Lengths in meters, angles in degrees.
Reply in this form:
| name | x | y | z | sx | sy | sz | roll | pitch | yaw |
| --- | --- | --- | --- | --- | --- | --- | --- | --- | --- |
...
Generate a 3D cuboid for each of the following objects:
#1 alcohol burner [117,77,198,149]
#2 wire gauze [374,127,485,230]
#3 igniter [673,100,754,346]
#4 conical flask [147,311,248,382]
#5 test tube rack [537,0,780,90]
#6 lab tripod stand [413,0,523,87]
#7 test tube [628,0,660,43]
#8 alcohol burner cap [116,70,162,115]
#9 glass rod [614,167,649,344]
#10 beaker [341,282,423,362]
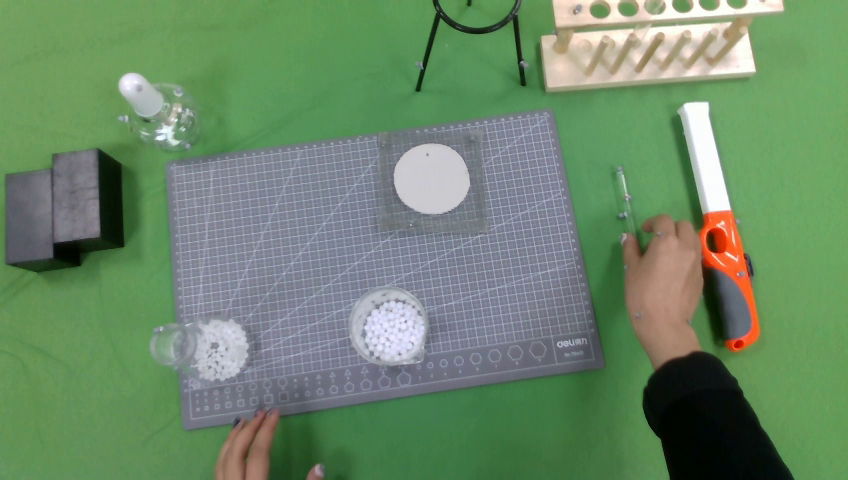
| name | x | y | z | sx | sy | sz | roll | pitch | yaw |
| --- | --- | --- | --- | --- | --- | --- | --- | --- | --- |
| alcohol burner | -0.292 | -0.144 | 0.651 | 0.078 | 0.119 | 0.077 | 0 | 79 | 2 |
| wire gauze | 0.006 | -0.071 | 0.686 | 0.125 | 0.011 | 0.121 | 0 | 78 | -2 |
| igniter | 0.318 | -0.023 | 0.667 | 0.057 | 0.025 | 0.275 | -5 | 78 | -11 |
| conical flask | -0.225 | 0.102 | 0.594 | 0.075 | 0.122 | 0.075 | 0 | 78 | 1 |
| test tube rack | 0.257 | -0.227 | 0.679 | 0.242 | 0.085 | 0.066 | -5 | 78 | 0 |
| lab tripod stand | 0.048 | -0.231 | 0.657 | 0.148 | 0.132 | 0.148 | 0 | 80 | 1 |
| test tube | 0.238 | -0.250 | 0.633 | 0.017 | 0.151 | 0.017 | -1 | 78 | 3 |
| alcohol burner cap | -0.293 | -0.154 | 0.617 | 0.034 | 0.048 | 0.033 | 0 | 72 | 1 |
| glass rod | 0.229 | 0.015 | 0.669 | 0.008 | 0.008 | 0.199 | -7 | 81 | -1 |
| beaker | -0.035 | 0.088 | 0.607 | 0.074 | 0.100 | 0.083 | -44 | 81 | -7 |
